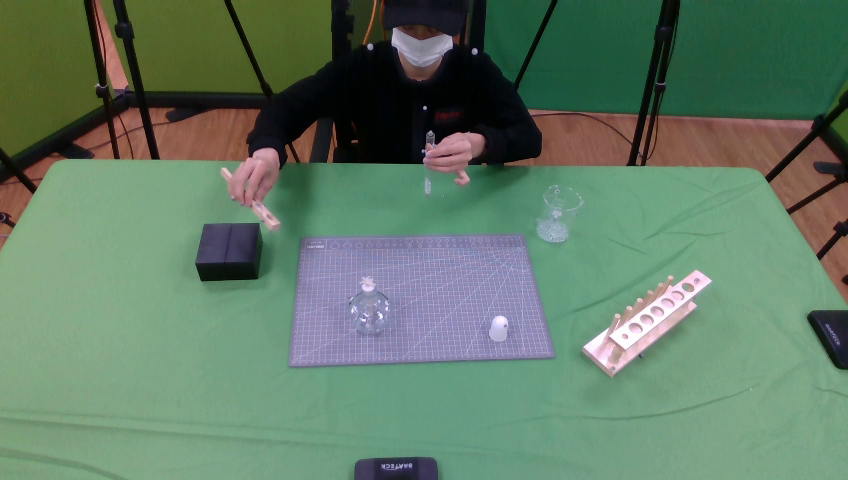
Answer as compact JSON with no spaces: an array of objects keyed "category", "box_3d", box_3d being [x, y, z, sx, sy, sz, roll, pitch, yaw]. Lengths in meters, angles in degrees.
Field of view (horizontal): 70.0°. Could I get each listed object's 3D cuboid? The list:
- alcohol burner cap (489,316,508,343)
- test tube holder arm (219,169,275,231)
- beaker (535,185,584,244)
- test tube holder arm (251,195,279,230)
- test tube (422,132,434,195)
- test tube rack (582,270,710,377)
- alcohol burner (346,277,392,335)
[{"category":"alcohol burner cap","box_3d":[0.130,0.151,1.045,0.034,0.048,0.033,2,46,-2]},{"category":"test tube holder arm","box_3d":[-0.319,-0.075,1.089,0.177,0.015,0.013,42,34,26]},{"category":"beaker","box_3d":[0.268,-0.048,1.213,0.084,0.101,0.073,6,46,0]},{"category":"test tube holder arm","box_3d":[-0.286,-0.049,1.074,0.087,0.015,0.010,42,34,26]},{"category":"test tube","box_3d":[0.007,-0.140,1.140,0.017,0.151,0.017,2,49,-2]},{"category":"test tube rack","box_3d":[0.389,0.132,1.057,0.242,0.085,0.066,-28,54,-28]},{"category":"alcohol burner","box_3d":[-0.093,0.106,1.021,0.078,0.120,0.077,1,46,-1]}]
